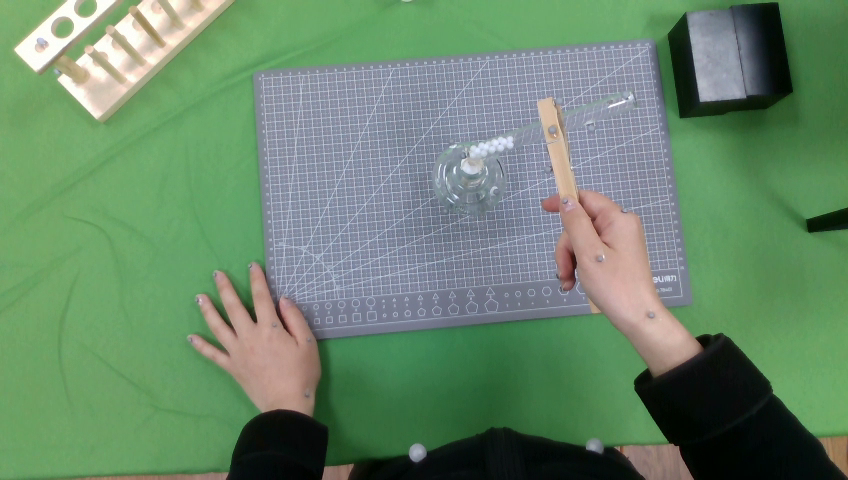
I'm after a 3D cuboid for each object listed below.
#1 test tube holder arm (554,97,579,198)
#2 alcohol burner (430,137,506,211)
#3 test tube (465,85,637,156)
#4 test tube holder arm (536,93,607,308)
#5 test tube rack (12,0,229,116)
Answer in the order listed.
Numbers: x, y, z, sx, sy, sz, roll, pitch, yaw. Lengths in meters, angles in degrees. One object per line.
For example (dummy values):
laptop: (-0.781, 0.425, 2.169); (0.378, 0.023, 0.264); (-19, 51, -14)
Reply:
test tube holder arm: (0.113, -0.075, 0.501); (0.015, 0.010, 0.087); (-15, 76, 30)
alcohol burner: (0.045, -0.070, 0.604); (0.078, 0.119, 0.077); (0, 81, 1)
test tube: (0.100, -0.096, 0.503); (0.150, 0.017, 0.017); (-15, 82, 30)
test tube holder arm: (0.119, -0.032, 0.491); (0.015, 0.013, 0.178); (-16, 85, 30)
test tube rack: (-0.291, -0.248, 0.634); (0.066, 0.085, 0.242); (44, 85, 4)
